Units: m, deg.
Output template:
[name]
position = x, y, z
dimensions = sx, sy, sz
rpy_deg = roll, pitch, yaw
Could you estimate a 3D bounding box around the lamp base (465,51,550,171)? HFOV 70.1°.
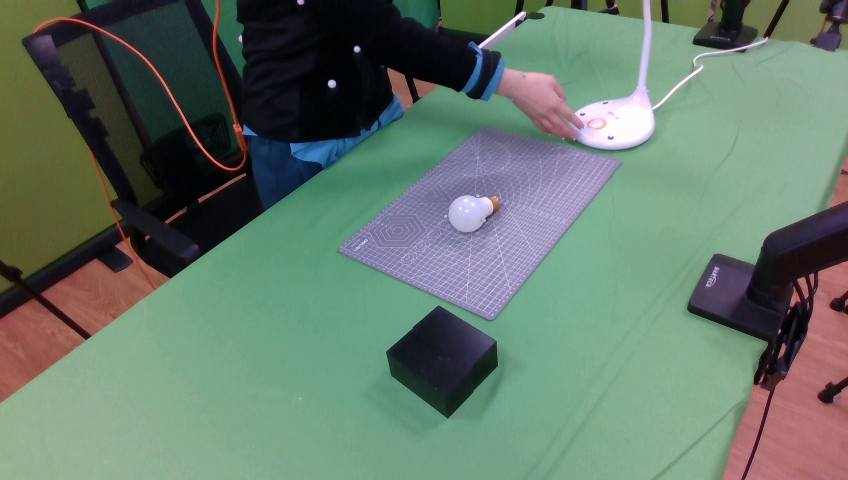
[lamp base]
position = 0.159, -0.243, 1.103
dimensions = 0.180, 0.181, 0.159
rpy_deg = -32, 46, -29
